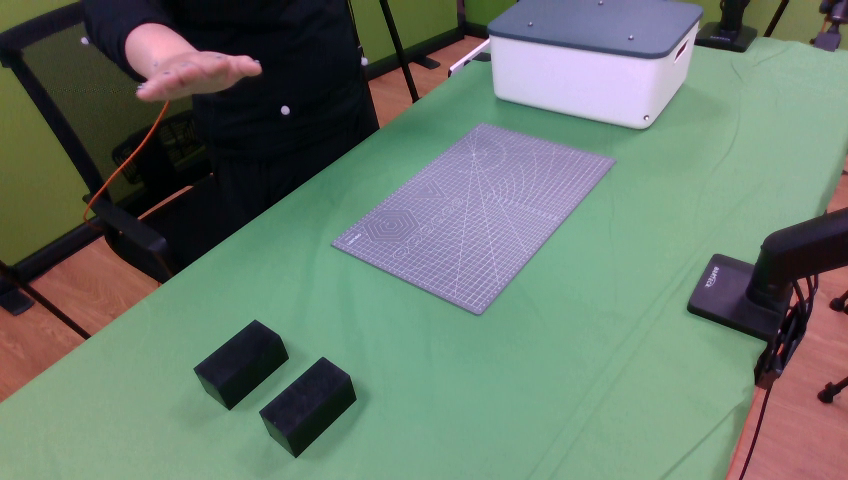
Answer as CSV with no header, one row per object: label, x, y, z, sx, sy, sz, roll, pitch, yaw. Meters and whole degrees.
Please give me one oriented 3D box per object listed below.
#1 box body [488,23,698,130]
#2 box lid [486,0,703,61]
box body,0.345,-0.379,1.257,0.361,0.161,0.255,20,48,29
box lid,0.338,-0.435,1.208,0.369,0.015,0.264,20,47,29
